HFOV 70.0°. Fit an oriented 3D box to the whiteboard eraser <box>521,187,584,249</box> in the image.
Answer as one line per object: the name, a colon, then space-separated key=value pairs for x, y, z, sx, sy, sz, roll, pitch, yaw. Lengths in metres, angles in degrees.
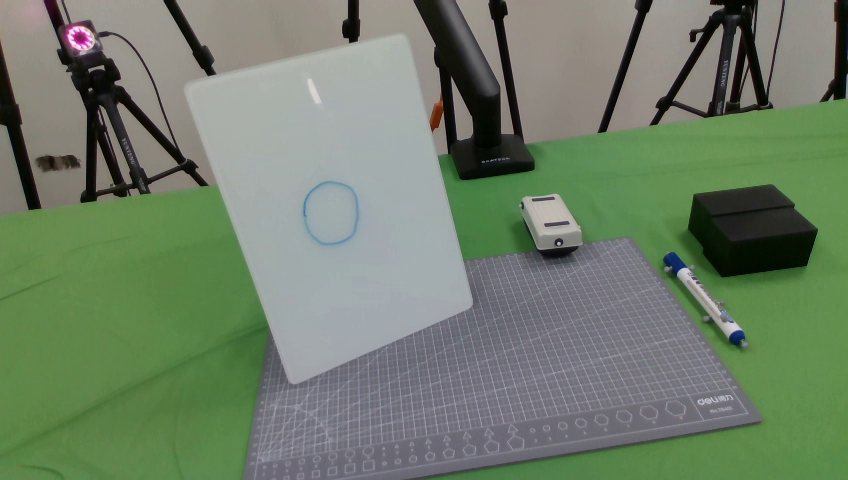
whiteboard eraser: x=0.161 y=-0.029 z=0.772 sx=0.055 sy=0.042 sz=0.111 roll=-9 pitch=31 yaw=0

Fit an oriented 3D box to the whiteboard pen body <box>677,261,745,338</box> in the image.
whiteboard pen body: x=0.301 y=0.054 z=0.653 sx=0.017 sy=0.017 sz=0.139 roll=-9 pitch=34 yaw=-4

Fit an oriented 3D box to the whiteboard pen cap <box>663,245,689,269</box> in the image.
whiteboard pen cap: x=0.292 y=0.021 z=0.699 sx=0.018 sy=0.018 sz=0.033 roll=-9 pitch=33 yaw=-4

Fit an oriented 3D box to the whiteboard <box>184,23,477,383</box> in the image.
whiteboard: x=-0.099 y=-0.046 z=0.656 sx=0.217 sy=0.307 sz=0.143 roll=-21 pitch=18 yaw=-19
